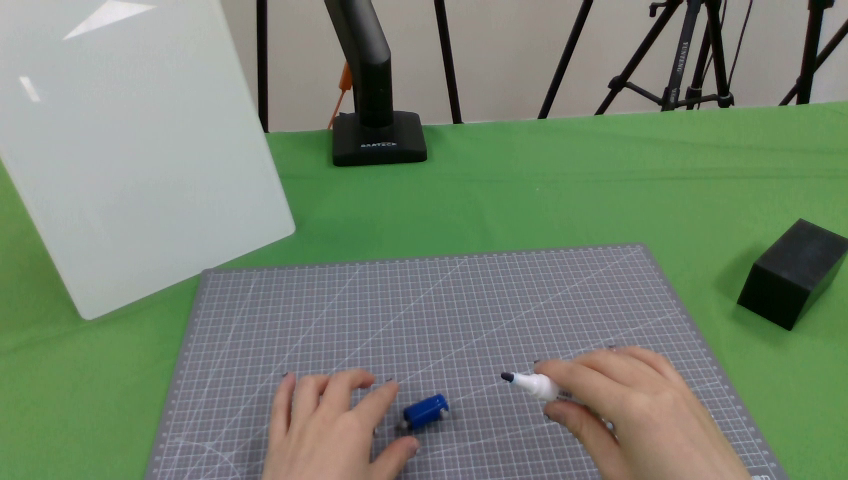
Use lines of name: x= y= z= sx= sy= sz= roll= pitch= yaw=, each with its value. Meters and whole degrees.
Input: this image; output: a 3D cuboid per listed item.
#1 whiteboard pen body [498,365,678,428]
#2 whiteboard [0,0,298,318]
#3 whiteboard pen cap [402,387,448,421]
whiteboard pen body: x=0.107 y=0.099 z=0.385 sx=0.142 sy=0.017 sz=0.017 roll=20 pitch=34 yaw=-21
whiteboard: x=-0.289 y=-0.122 z=0.589 sx=0.217 sy=0.307 sz=0.142 roll=-27 pitch=27 yaw=-28
whiteboard pen cap: x=0.001 y=0.124 z=0.460 sx=0.033 sy=0.018 sz=0.018 roll=-14 pitch=41 yaw=-24
